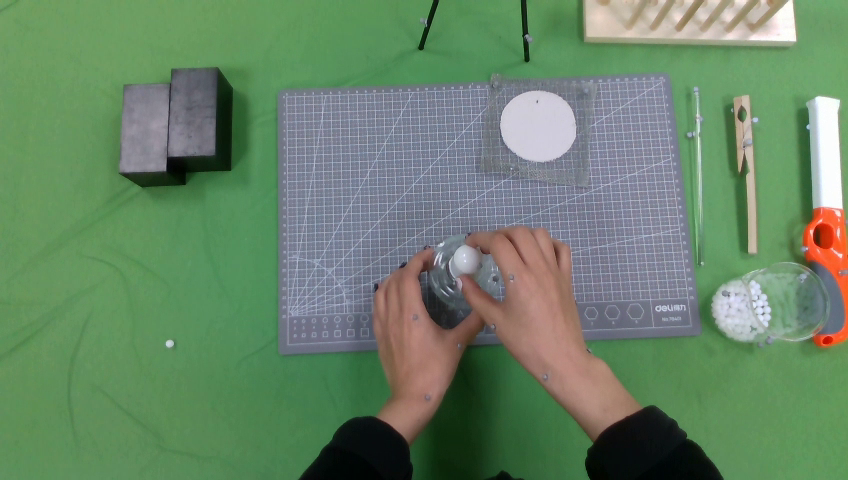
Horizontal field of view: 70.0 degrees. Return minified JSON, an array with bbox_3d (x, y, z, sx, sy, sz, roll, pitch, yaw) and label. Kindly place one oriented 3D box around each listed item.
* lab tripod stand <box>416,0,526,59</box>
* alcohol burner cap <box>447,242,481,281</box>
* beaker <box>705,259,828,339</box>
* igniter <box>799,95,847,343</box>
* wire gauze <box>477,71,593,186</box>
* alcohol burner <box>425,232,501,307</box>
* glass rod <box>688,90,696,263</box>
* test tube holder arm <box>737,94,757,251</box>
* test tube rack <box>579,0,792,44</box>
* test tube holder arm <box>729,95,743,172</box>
[{"bbox_3d":[0.058,-0.265,0.649,0.148,0.132,0.148,0,81,0],"label":"lab tripod stand"},{"bbox_3d":[0.039,0.018,0.568,0.034,0.048,0.033,1,75,-3],"label":"alcohol burner cap"},{"bbox_3d":[0.333,0.062,0.607,0.084,0.100,0.074,29,80,7],"label":"beaker"},{"bbox_3d":[0.435,-0.026,0.660,0.057,0.025,0.275,7,79,-10],"label":"igniter"},{"bbox_3d":[0.126,-0.129,0.685,0.125,0.011,0.121,9,81,1],"label":"wire gauze"},{"bbox_3d":[0.039,0.026,0.603,0.078,0.119,0.077,0,78,2],"label":"alcohol burner"},{"bbox_3d":[0.300,-0.073,0.677,0.008,0.008,0.199,3,82,0],"label":"glass rod"},{"bbox_3d":[0.357,-0.076,0.671,0.013,0.015,0.177,-7,78,34],"label":"test tube holder arm"},{"bbox_3d":[0.304,-0.271,0.675,0.242,0.085,0.066,1,79,0],"label":"test tube rack"},{"bbox_3d":[0.352,-0.120,0.682,0.010,0.015,0.087,-6,78,34],"label":"test tube holder arm"}]
